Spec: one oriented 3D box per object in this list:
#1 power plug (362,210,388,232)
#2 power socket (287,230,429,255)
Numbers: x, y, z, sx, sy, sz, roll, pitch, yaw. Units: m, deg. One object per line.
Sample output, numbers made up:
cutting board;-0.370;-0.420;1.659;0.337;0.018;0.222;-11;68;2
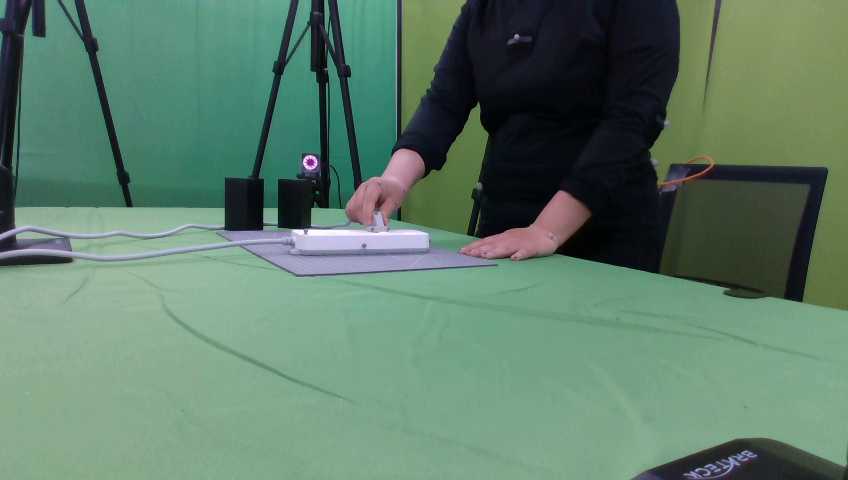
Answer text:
power plug;-0.078;-0.021;0.966;0.035;0.052;0.072;0;7;-12
power socket;-0.098;0.002;0.927;0.228;0.032;0.072;-1;7;-25
